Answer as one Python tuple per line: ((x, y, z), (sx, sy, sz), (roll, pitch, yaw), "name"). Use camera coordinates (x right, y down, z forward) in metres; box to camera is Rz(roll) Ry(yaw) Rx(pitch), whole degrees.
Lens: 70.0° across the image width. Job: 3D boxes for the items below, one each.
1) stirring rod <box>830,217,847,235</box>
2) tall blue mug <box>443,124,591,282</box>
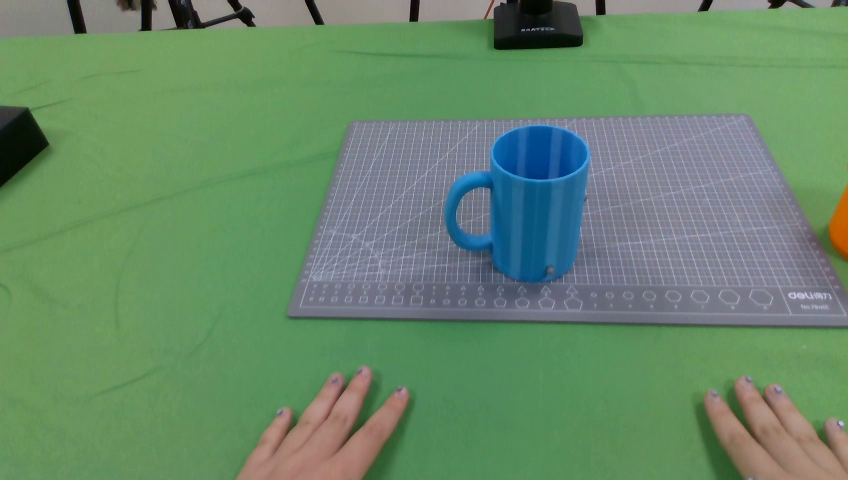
((0.410, -0.044, 0.468), (0.176, 0.006, 0.014), (-31, 31, 39), "stirring rod")
((0.078, -0.023, 0.494), (0.107, 0.109, 0.077), (-27, 48, -21), "tall blue mug")
